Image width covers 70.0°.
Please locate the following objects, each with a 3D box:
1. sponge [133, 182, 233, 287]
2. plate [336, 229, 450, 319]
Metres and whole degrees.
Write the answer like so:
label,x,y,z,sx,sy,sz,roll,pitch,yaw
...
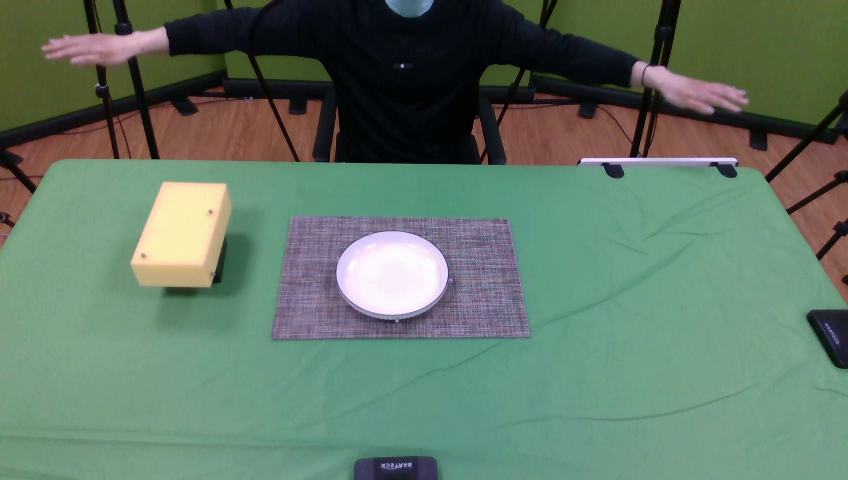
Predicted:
label,x,y,z,sx,sy,sz,roll,pitch,yaw
sponge,-0.424,-0.014,1.084,0.118,0.061,0.205,0,46,-4
plate,-0.056,0.065,1.113,0.208,0.039,0.206,2,46,-2
